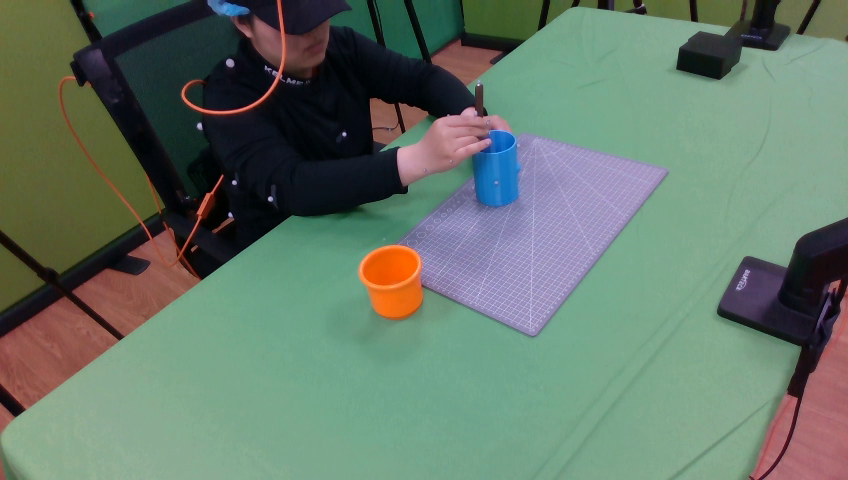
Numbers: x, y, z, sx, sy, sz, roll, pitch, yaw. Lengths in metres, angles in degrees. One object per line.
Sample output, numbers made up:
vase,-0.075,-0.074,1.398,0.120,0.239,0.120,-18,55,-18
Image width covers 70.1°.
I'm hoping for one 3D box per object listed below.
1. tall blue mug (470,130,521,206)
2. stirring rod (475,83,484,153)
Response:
tall blue mug,0.118,-0.132,1.046,0.078,0.108,0.106,-20,41,-10
stirring rod,0.090,-0.177,0.984,0.014,0.177,0.005,-27,50,-20
